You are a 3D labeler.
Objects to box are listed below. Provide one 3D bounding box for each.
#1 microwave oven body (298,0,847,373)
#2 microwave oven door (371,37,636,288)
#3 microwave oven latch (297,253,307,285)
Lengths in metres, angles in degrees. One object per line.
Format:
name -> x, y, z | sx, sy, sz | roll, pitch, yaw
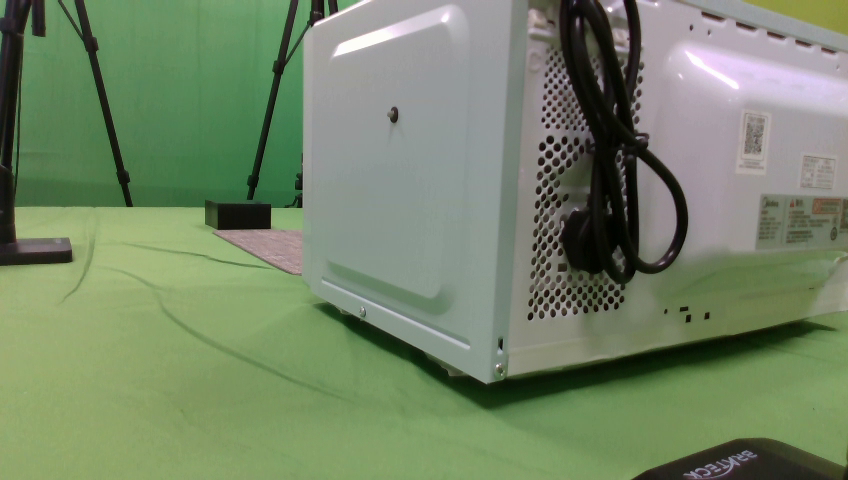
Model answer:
microwave oven body -> 0.151, -0.055, 0.543 | 0.444, 0.260, 0.324 | -1, 7, -33
microwave oven door -> 0.109, -0.080, 0.686 | 0.358, 0.243, 0.039 | -2, 9, -33
microwave oven latch -> -0.082, 0.027, 0.582 | 0.079, 0.029, 0.030 | -1, 7, -32
